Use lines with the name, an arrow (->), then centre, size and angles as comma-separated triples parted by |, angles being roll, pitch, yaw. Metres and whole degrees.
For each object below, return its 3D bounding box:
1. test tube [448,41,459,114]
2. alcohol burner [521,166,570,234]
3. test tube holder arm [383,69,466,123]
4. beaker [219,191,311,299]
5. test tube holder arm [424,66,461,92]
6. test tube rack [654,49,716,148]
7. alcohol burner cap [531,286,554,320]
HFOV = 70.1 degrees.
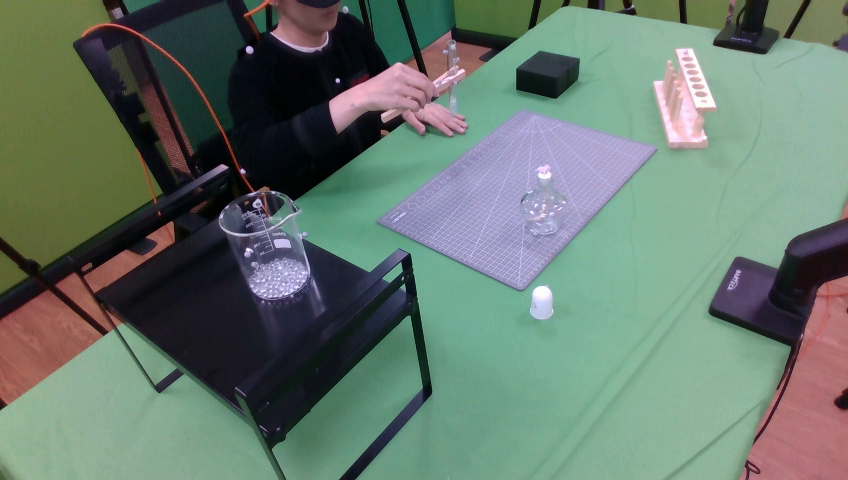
test tube -> 0.052, -0.282, 1.062 | 0.017, 0.151, 0.017 | -2, 52, 3
alcohol burner -> 0.192, -0.068, 0.951 | 0.078, 0.119, 0.077 | -4, 42, 4
test tube holder arm -> 0.003, -0.247, 1.029 | 0.179, 0.015, 0.013 | -36, 54, -21
beaker -> -0.164, 0.008, 0.654 | 0.084, 0.101, 0.073 | -10, 41, -3
test tube holder arm -> 0.032, -0.275, 1.049 | 0.010, 0.015, 0.088 | 33, 61, 29
test tube rack -> 0.502, -0.281, 1.176 | 0.066, 0.085, 0.241 | 2, 41, 11
alcohol burner cap -> 0.164, 0.084, 0.838 | 0.034, 0.048, 0.033 | -4, 40, 4
